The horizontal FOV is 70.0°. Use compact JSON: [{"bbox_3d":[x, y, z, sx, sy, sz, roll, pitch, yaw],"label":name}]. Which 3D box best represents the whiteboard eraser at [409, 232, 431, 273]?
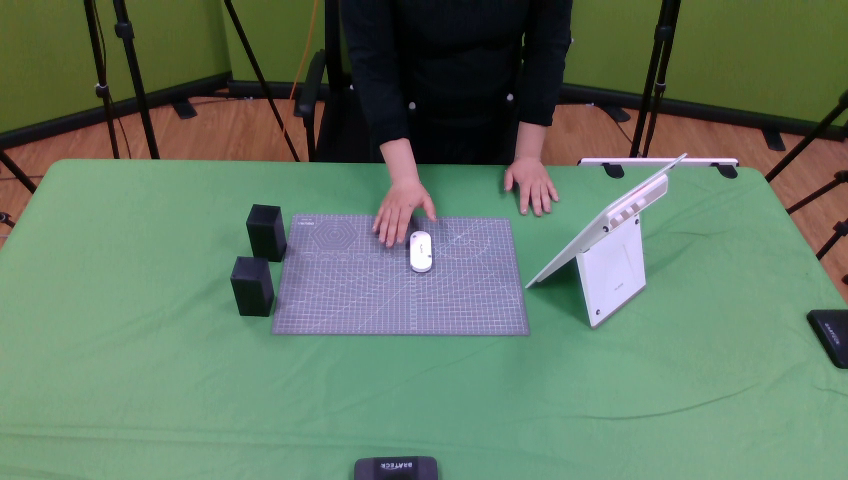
[{"bbox_3d":[-0.008,0.023,1.173,0.041,0.019,0.100,1,45,-2],"label":"whiteboard eraser"}]

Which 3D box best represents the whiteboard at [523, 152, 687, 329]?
[{"bbox_3d":[0.346,0.025,1.046,0.217,0.306,0.143,-30,74,-29],"label":"whiteboard"}]
